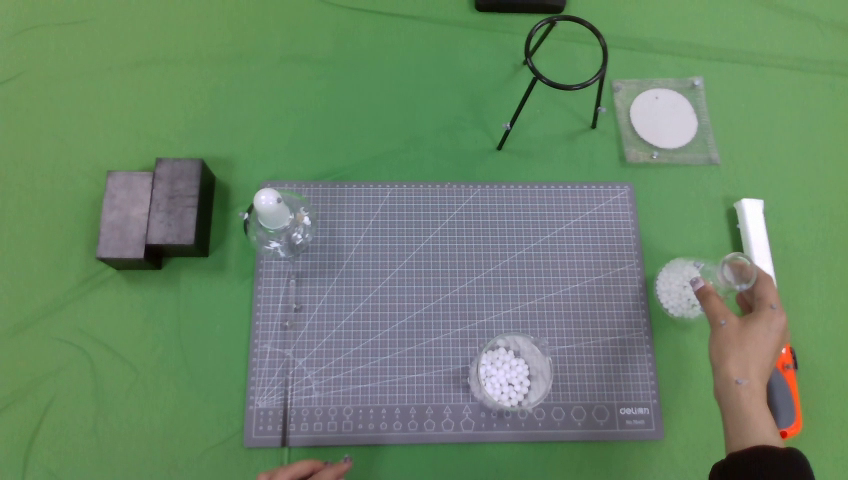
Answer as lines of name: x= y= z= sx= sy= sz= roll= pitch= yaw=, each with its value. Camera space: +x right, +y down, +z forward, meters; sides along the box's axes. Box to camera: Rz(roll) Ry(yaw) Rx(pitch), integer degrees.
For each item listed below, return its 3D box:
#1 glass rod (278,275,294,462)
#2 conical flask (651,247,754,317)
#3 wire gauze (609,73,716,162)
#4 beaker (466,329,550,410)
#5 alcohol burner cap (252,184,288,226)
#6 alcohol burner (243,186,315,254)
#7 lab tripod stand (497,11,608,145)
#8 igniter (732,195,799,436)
glass rod: x=-0.149 y=0.136 z=0.656 sx=0.008 sy=0.008 sz=0.198 roll=1 pitch=77 yaw=-3
conical flask: x=0.296 y=0.038 z=0.635 sx=0.075 sy=0.122 sz=0.075 roll=0 pitch=77 yaw=-1
wire gauze: x=0.303 y=-0.156 z=0.768 sx=0.125 sy=0.011 sz=0.121 roll=-1 pitch=75 yaw=-5
beaker: x=0.085 y=0.133 z=0.624 sx=0.084 sy=0.100 sz=0.073 roll=-42 pitch=80 yaw=-14
alcohol burner cap: x=-0.157 y=-0.039 z=0.613 sx=0.034 sy=0.048 sz=0.033 roll=2 pitch=67 yaw=-4
alcohol burner: x=-0.158 y=-0.027 z=0.647 sx=0.078 sy=0.119 sz=0.077 roll=0 pitch=74 yaw=-1
lab tripod stand: x=0.146 y=-0.183 z=0.701 sx=0.148 sy=0.132 sz=0.147 roll=1 pitch=76 yaw=-3
igniter: x=0.390 y=0.080 z=0.696 sx=0.057 sy=0.025 sz=0.275 roll=3 pitch=74 yaw=-14
